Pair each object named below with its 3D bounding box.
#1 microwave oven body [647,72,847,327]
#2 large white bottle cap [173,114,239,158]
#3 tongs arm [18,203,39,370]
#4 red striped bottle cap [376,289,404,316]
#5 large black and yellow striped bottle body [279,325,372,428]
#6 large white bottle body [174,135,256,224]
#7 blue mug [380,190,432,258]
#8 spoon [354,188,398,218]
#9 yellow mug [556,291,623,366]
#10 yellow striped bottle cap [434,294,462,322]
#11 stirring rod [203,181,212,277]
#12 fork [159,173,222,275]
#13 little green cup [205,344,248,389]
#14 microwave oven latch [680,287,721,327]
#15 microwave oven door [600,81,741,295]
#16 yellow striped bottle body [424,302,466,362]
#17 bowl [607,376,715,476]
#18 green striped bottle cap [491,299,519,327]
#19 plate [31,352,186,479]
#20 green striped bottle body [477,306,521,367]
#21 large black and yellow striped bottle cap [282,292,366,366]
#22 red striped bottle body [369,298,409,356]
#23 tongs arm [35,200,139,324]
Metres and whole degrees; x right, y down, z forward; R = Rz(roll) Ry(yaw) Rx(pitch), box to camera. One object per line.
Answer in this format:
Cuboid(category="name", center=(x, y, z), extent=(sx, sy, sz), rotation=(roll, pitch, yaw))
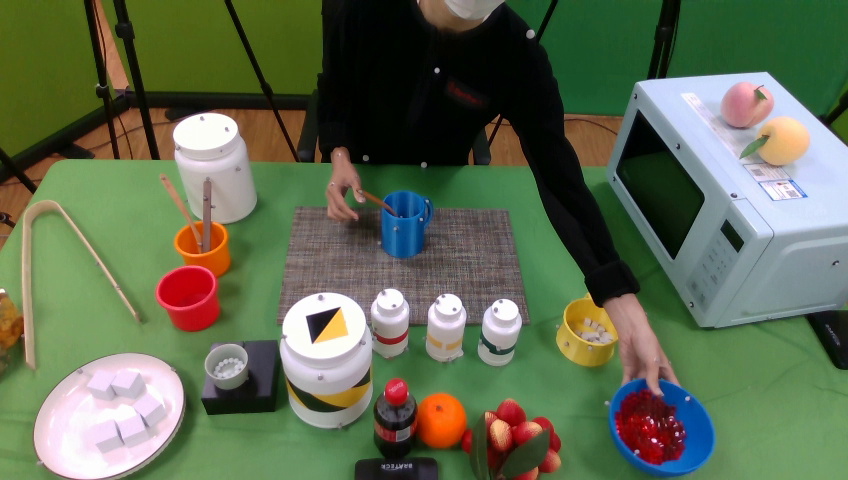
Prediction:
Cuboid(category="microwave oven body", center=(0.607, -0.089, 1.164), extent=(0.326, 0.261, 0.438), rotation=(-7, 46, -10))
Cuboid(category="large white bottle cap", center=(-0.403, -0.195, 1.122), extent=(0.115, 0.018, 0.114), rotation=(2, 47, -2))
Cuboid(category="tongs arm", center=(-0.698, 0.068, 1.069), extent=(0.028, 0.028, 0.385), rotation=(-20, 50, -13))
Cuboid(category="red striped bottle cap", center=(-0.054, 0.098, 0.958), extent=(0.044, 0.018, 0.044), rotation=(0, 48, 0))
Cuboid(category="large black and yellow striped bottle body", center=(-0.143, 0.181, 0.900), extent=(0.131, 0.185, 0.130), rotation=(2, 46, -2))
Cuboid(category="large white bottle body", center=(-0.408, -0.137, 1.183), extent=(0.131, 0.185, 0.130), rotation=(2, 46, -2))
Cuboid(category="blue mug", center=(-0.030, -0.037, 1.169), extent=(0.116, 0.106, 0.082), rotation=(-28, 54, -28))
Cuboid(category="spoon", center=(-0.067, -0.055, 1.122), extent=(0.021, 0.195, 0.041), rotation=(-43, 50, 6))
Cuboid(category="yellow mug", center=(0.284, 0.145, 1.052), extent=(0.100, 0.064, 0.130), rotation=(8, 46, 2))
Cuboid(category="yellow striped bottle cap", center=(0.037, 0.107, 0.958), extent=(0.044, 0.019, 0.044), rotation=(2, 45, -2))
Cuboid(category="stirring rod", center=(-0.396, -0.021, 1.108), extent=(0.014, 0.006, 0.176), rotation=(-1, 89, -1))
Cuboid(category="fork", center=(-0.427, -0.029, 1.103), extent=(0.028, 0.018, 0.207), rotation=(-31, 99, -30))
Cuboid(category="little green cup", center=(-0.293, 0.191, 0.909), extent=(0.061, 0.039, 0.061), rotation=(1, 47, -1))
Cuboid(category="microwave oven latch", center=(0.494, 0.119, 1.087), extent=(0.030, 0.029, 0.078), rotation=(-6, 46, -9))
Cuboid(category="microwave oven door", center=(0.454, -0.107, 1.162), extent=(0.039, 0.245, 0.353), rotation=(-5, 47, -11))
Cuboid(category="yellow striped bottle body", center=(0.035, 0.143, 0.995), extent=(0.063, 0.121, 0.062), rotation=(3, 46, -3))
Cuboid(category="bowl", center=(0.341, 0.289, 0.902), extent=(0.151, 0.077, 0.150), rotation=(1, 46, -1))
Cuboid(category="green striped bottle cap", center=(0.128, 0.115, 0.958), extent=(0.044, 0.020, 0.044), rotation=(1, 46, -1))
Cuboid(category="plate", center=(-0.459, 0.262, 0.898), extent=(0.209, 0.038, 0.208), rotation=(2, 45, -2))
Cuboid(category="green striped bottle body", center=(0.124, 0.151, 0.995), extent=(0.063, 0.120, 0.063), rotation=(2, 46, -2))
Cuboid(category="large black and yellow striped bottle cap", center=(-0.138, 0.121, 0.841), extent=(0.115, 0.019, 0.114), rotation=(3, 47, -3))
Cuboid(category="red striped bottle body", center=(-0.058, 0.134, 0.997), extent=(0.063, 0.120, 0.062), rotation=(4, 47, -4))
Cuboid(category="tongs arm", center=(-0.622, 0.034, 1.105), extent=(0.051, 0.026, 0.382), rotation=(-31, 55, -26))
